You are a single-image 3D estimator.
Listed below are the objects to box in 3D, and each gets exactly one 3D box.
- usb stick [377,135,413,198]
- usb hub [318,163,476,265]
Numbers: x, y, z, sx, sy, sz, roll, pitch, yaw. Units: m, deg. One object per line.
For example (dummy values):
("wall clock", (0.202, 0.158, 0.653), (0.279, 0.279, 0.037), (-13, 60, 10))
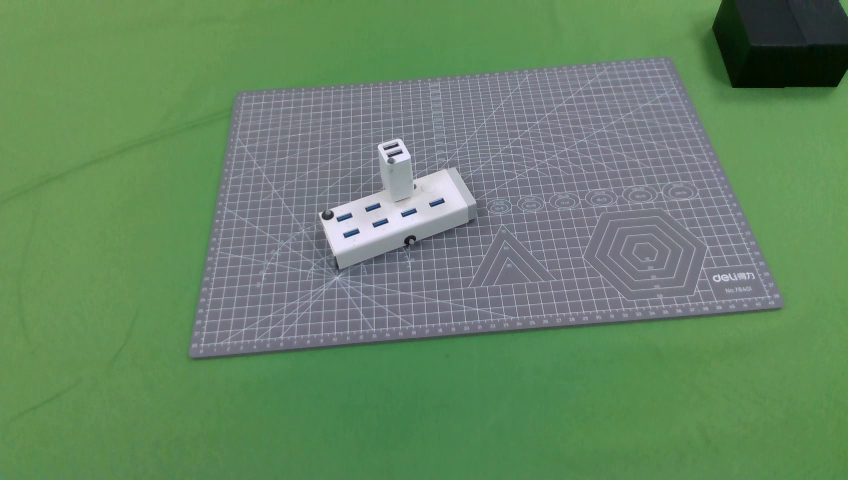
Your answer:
("usb stick", (-0.023, -0.055, 0.493), (0.021, 0.060, 0.027), (-19, 52, -12))
("usb hub", (-0.022, -0.024, 0.508), (0.125, 0.025, 0.049), (-20, 55, -11))
